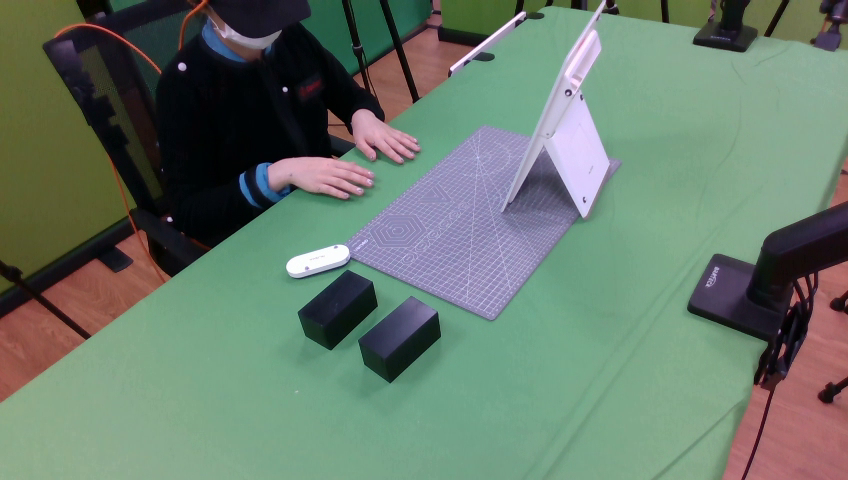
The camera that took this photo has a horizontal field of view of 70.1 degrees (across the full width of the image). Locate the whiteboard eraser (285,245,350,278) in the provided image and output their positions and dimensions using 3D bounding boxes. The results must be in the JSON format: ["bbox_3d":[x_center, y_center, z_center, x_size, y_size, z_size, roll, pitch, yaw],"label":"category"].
[{"bbox_3d":[-0.168,0.033,0.954,0.101,0.019,0.041,-15,41,-9],"label":"whiteboard eraser"}]

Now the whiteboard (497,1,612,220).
[{"bbox_3d":[0.260,-0.178,0.963,0.143,0.306,0.217,28,49,9],"label":"whiteboard"}]
